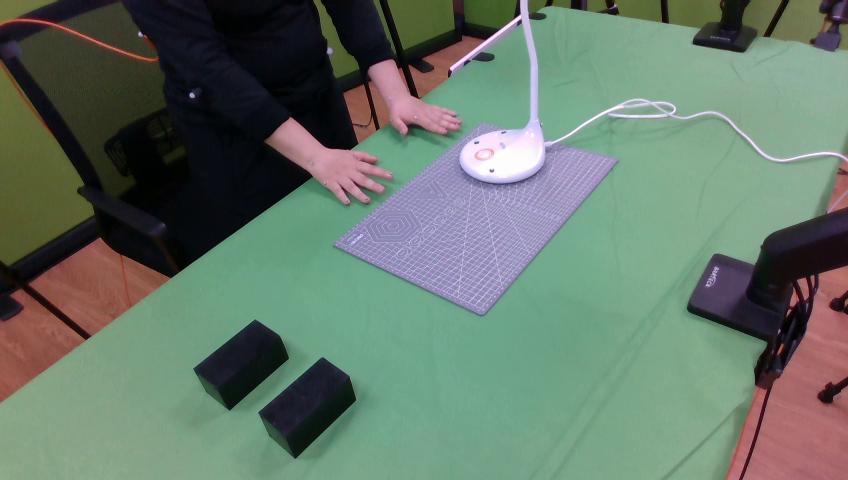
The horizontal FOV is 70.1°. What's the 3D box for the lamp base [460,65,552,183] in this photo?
[{"bbox_3d":[0.149,-0.218,1.078,0.180,0.181,0.159,-19,41,-17],"label":"lamp base"}]
